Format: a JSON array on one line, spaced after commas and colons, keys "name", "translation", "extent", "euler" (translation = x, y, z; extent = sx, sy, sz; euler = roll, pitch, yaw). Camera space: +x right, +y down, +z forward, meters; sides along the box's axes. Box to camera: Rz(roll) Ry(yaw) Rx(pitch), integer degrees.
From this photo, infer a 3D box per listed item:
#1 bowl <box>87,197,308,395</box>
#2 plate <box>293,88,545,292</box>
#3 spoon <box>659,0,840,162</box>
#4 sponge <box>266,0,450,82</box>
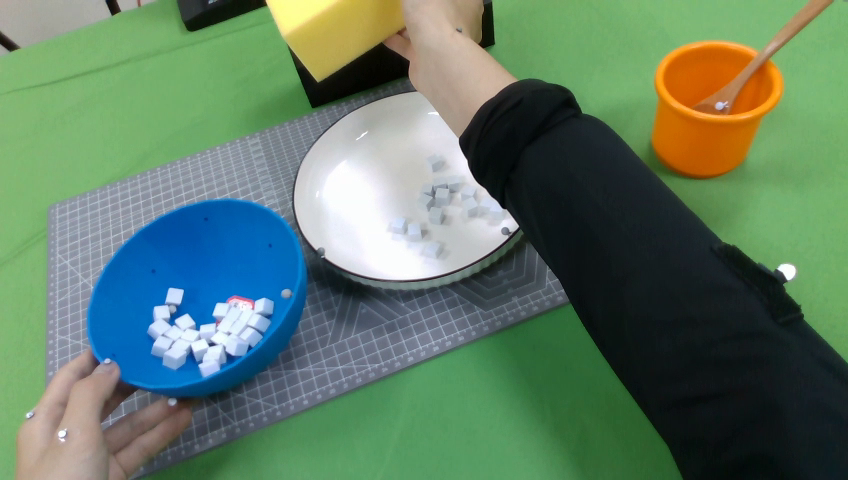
[{"name": "bowl", "translation": [-0.149, 0.051, 0.441], "extent": [0.151, 0.077, 0.150], "euler": [-4, 55, 7]}, {"name": "plate", "translation": [-0.005, -0.043, 0.508], "extent": [0.209, 0.038, 0.207], "euler": [-4, 55, 7]}, {"name": "spoon", "translation": [0.259, -0.134, 0.462], "extent": [0.022, 0.194, 0.041], "euler": [6, 44, -43]}, {"name": "sponge", "translation": [-0.040, -0.247, 0.536], "extent": [0.207, 0.061, 0.117], "euler": [-31, 60, 4]}]
